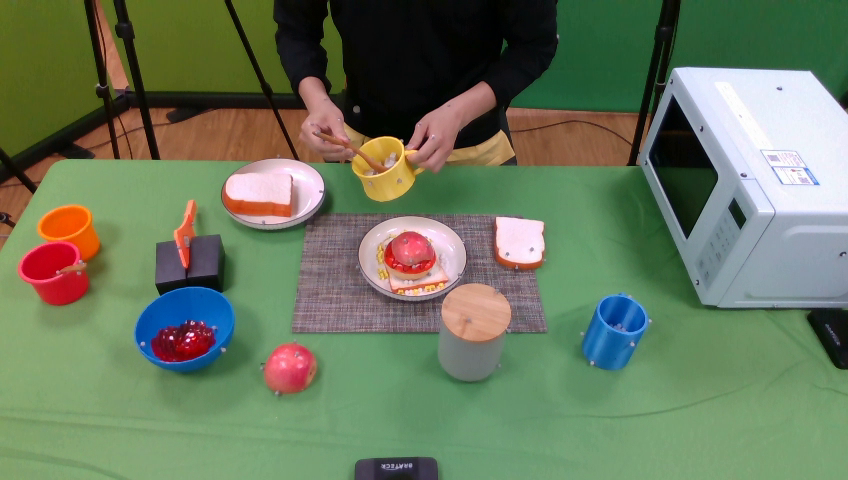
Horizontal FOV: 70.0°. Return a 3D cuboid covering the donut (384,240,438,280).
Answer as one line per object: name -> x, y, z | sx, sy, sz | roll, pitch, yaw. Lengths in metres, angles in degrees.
donut -> -0.025, 0.030, 1.110 | 0.099, 0.048, 0.098 | 3, 45, -2

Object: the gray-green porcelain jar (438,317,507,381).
gray-green porcelain jar -> 0.076, 0.158, 0.977 | 0.106, 0.127, 0.105 | 2, 47, -2

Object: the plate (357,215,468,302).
plate -> -0.022, 0.037, 1.141 | 0.208, 0.039, 0.206 | 2, 46, -2

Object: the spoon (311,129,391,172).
spoon -> -0.116, -0.151, 1.034 | 0.041, 0.195, 0.021 | 17, 84, 44

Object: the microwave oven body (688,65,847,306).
microwave oven body -> 0.669, -0.111, 1.176 | 0.326, 0.261, 0.439 | 0, 46, -3

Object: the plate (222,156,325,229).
plate -> -0.308, -0.095, 1.251 | 0.209, 0.038, 0.208 | 2, 47, -2

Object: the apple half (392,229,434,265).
apple half -> -0.021, 0.004, 1.083 | 0.081, 0.033, 0.081 | 7, 50, -8

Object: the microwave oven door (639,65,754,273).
microwave oven door -> 0.522, -0.147, 1.193 | 0.039, 0.245, 0.353 | 0, 47, -3

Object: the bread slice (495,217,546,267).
bread slice -> 0.194, 0.002, 1.205 | 0.105, 0.019, 0.131 | 5, 45, 3

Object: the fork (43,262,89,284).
fork -> -0.599, 0.053, 1.014 | 0.207, 0.019, 0.028 | -14, 30, 45

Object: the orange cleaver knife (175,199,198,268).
orange cleaver knife -> -0.438, -0.017, 1.138 | 0.012, 0.077, 0.210 | -14, 27, -6

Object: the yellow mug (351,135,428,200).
yellow mug -> -0.057, -0.132, 1.075 | 0.131, 0.064, 0.099 | -12, 50, 12

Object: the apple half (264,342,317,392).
apple half -> -0.214, 0.198, 0.970 | 0.074, 0.053, 0.080 | 19, 48, 10

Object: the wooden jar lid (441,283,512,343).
wooden jar lid -> 0.080, 0.114, 0.931 | 0.108, 0.021, 0.107 | 1, 49, 0

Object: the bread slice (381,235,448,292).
bread slice -> -0.027, 0.039, 1.140 | 0.107, 0.018, 0.133 | -11, 49, -15

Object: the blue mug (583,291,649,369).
blue mug -> 0.324, 0.142, 1.023 | 0.082, 0.106, 0.116 | 15, 47, 11

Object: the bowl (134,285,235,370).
bowl -> -0.377, 0.155, 0.981 | 0.151, 0.077, 0.150 | 2, 46, -2

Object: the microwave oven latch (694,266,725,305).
microwave oven latch -> 0.523, 0.082, 1.115 | 0.030, 0.029, 0.078 | 3, 46, 0
